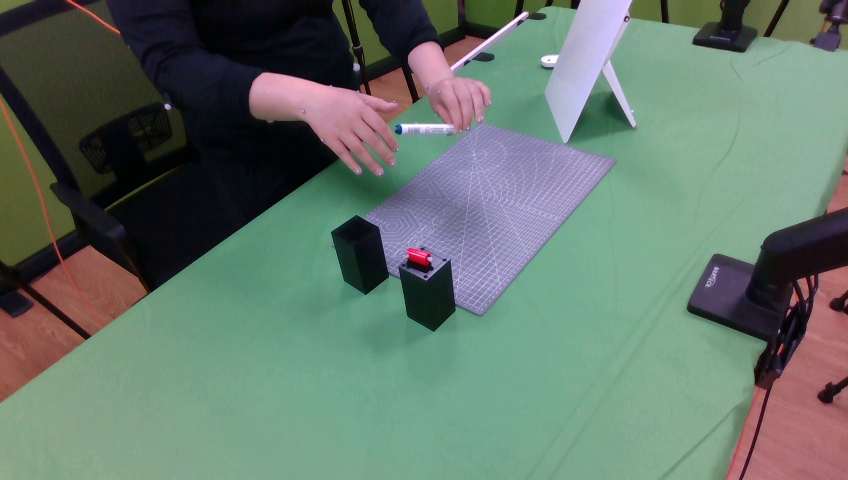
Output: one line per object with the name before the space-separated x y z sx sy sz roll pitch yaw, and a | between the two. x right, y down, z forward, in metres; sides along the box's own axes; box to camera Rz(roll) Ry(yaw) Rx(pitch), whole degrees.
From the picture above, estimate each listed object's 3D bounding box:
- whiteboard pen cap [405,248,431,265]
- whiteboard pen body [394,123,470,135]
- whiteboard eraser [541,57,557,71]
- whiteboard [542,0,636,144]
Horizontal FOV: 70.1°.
whiteboard pen cap | -0.008 0.021 0.794 0.032 0.017 0.017 17 46 28
whiteboard pen body | 0.016 -0.171 0.931 0.142 0.017 0.016 -7 34 -35
whiteboard eraser | 0.323 -0.412 1.407 0.101 0.019 0.041 1 42 11
whiteboard | 0.366 -0.351 1.160 0.144 0.305 0.216 10 39 -10
